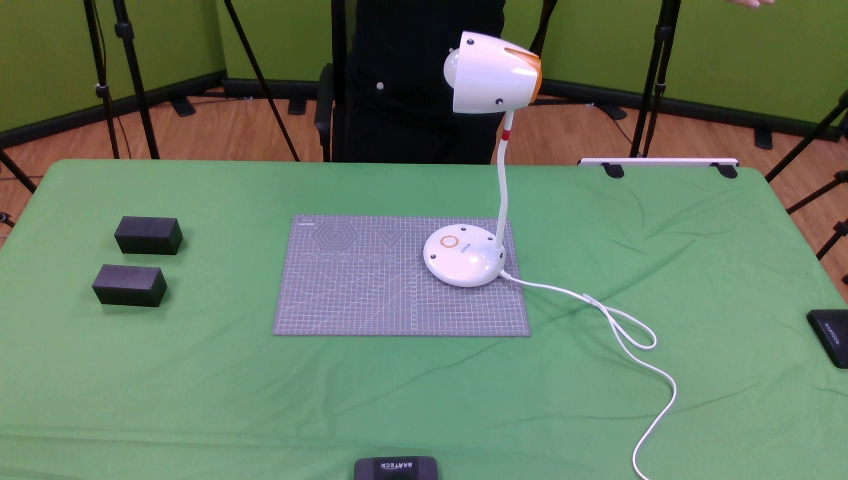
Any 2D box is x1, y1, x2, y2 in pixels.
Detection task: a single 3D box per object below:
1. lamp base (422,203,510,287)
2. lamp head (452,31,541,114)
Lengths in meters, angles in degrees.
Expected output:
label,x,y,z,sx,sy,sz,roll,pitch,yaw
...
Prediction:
label,x,y,z,sx,sy,sz,roll,pitch,yaw
lamp base,0.092,-0.021,1.111,0.179,0.181,0.160,23,49,14
lamp head,0.102,-0.228,0.858,0.123,0.113,0.112,11,46,0
